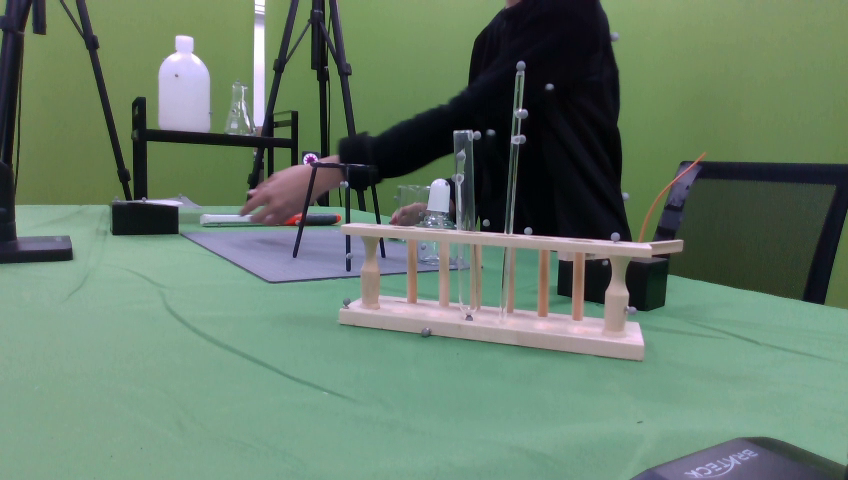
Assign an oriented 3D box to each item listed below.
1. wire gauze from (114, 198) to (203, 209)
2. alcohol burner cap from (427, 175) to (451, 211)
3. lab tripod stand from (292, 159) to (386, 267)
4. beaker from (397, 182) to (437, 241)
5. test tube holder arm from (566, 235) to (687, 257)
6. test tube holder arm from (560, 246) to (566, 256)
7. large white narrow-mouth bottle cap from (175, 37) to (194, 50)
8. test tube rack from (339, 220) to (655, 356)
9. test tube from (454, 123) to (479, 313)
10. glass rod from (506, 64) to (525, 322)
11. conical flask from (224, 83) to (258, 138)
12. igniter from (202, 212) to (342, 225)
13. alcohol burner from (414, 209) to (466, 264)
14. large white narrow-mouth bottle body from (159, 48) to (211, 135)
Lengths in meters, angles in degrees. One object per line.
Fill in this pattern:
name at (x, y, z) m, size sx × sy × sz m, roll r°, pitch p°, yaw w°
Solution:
wire gauze at (-0.447, -0.062, 1.015) m, size 0.126 × 0.011 × 0.121 m, roll -1°, pitch 8°, yaw -31°
alcohol burner cap at (0.023, -0.064, 0.822) m, size 0.034 × 0.048 × 0.034 m, roll 7°, pitch 5°, yaw 0°
lab tripod stand at (-0.105, -0.039, 0.798) m, size 0.148 × 0.131 × 0.148 m, roll 2°, pitch 5°, yaw 0°
beaker at (-0.012, -0.050, 1.073) m, size 0.074 × 0.100 × 0.084 m, roll 1°, pitch 8°, yaw -4°
test tube holder arm at (0.215, 0.006, 0.630) m, size 0.179 × 0.015 × 0.013 m, roll -3°, pitch 9°, yaw -31°
test tube holder arm at (0.173, 0.007, 0.612) m, size 0.088 × 0.015 × 0.010 m, roll -3°, pitch 9°, yaw -30°
large white narrow-mouth bottle cap at (-0.501, -0.410, 1.264) m, size 0.038 × 0.024 × 0.037 m, roll 2°, pitch 7°, yaw 0°
test tube rack at (0.056, 0.032, 0.495) m, size 0.242 × 0.085 × 0.067 m, roll 4°, pitch 7°, yaw 15°
test tube at (0.034, -0.016, 0.477) m, size 0.017 × 0.150 × 0.017 m, roll -2°, pitch 9°, yaw 1°
glass rod at (0.069, -0.029, 0.458) m, size 0.008 × 0.199 × 0.008 m, roll 0°, pitch 15°, yaw 0°
conical flask at (-0.422, -0.299, 1.395) m, size 0.075 × 0.122 × 0.075 m, roll 2°, pitch 7°, yaw 0°
igniter at (-0.298, -0.044, 1.216) m, size 0.278 × 0.025 × 0.057 m, roll -2°, pitch -2°, yaw -32°
alcohol burner at (0.021, -0.028, 0.825) m, size 0.078 × 0.119 × 0.078 m, roll 0°, pitch 6°, yaw 0°
large white narrow-mouth bottle body at (-0.503, -0.322, 1.275) m, size 0.102 × 0.194 × 0.102 m, roll 2°, pitch 7°, yaw 0°
